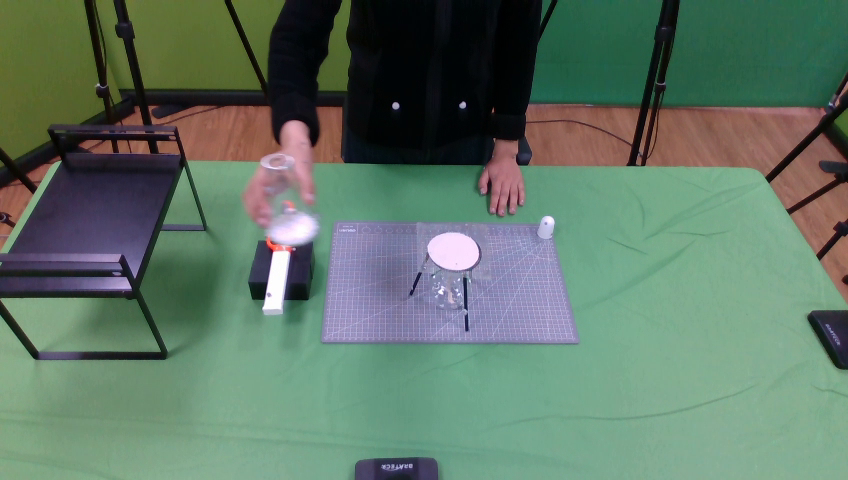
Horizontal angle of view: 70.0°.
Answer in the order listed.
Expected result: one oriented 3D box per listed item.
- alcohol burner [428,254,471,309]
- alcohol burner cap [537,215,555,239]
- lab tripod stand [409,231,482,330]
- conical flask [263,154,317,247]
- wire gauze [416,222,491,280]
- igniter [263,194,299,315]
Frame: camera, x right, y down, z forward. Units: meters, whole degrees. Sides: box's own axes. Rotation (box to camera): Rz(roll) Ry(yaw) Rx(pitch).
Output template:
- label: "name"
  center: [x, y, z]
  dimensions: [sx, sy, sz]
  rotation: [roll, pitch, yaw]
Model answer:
- label: "alcohol burner"
  center: [0.047, 0.068, 1.070]
  dimensions: [0.078, 0.119, 0.077]
  rotation: [3, 45, -3]
- label: "alcohol burner cap"
  center: [0.249, -0.029, 1.228]
  dimensions: [0.034, 0.048, 0.033]
  rotation: [1, 48, -1]
- label: "lab tripod stand"
  center: [0.051, 0.064, 1.060]
  dimensions: [0.148, 0.132, 0.147]
  rotation: [4, 46, -4]
- label: "conical flask"
  center: [-0.189, -0.056, 0.823]
  dimensions: [0.075, 0.122, 0.075]
  rotation: [0, 41, 0]
- label: "wire gauze"
  center: [0.048, 0.014, 1.013]
  dimensions: [0.125, 0.011, 0.120]
  rotation: [3, 47, -3]
- label: "igniter"
  center: [-0.259, 0.016, 1.093]
  dimensions: [0.057, 0.025, 0.274]
  rotation: [-3, 49, -2]
